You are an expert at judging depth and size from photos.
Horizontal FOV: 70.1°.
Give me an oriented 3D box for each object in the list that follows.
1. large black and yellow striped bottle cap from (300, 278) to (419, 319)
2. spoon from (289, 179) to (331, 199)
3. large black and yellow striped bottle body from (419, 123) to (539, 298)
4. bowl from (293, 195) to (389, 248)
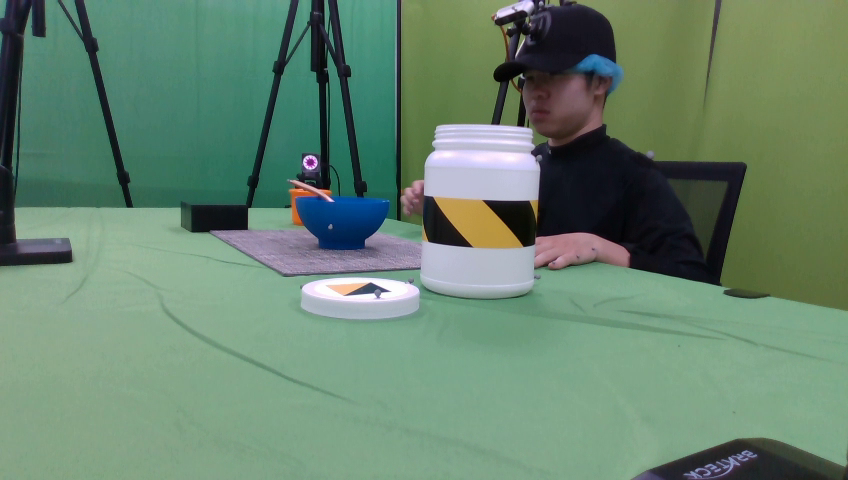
[{"bbox_3d":[-0.062,0.055,0.588,0.115,0.019,0.115,1,6,0],"label":"large black and yellow striped bottle cap"},{"bbox_3d":[-0.167,-0.071,1.002,0.042,0.021,0.192,-8,31,-44],"label":"spoon"},{"bbox_3d":[0.062,-0.036,0.683,0.131,0.184,0.130,2,7,0],"label":"large black and yellow striped bottle body"},{"bbox_3d":[-0.132,-0.030,0.961,0.151,0.077,0.151,2,7,0],"label":"bowl"}]
